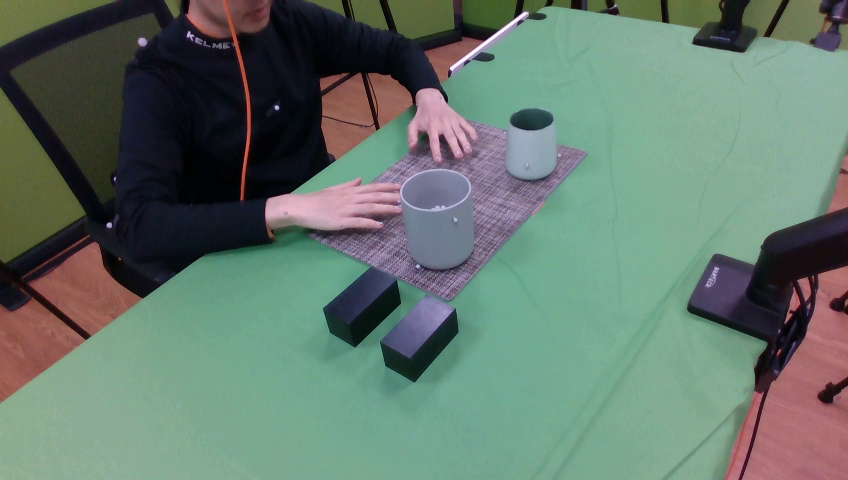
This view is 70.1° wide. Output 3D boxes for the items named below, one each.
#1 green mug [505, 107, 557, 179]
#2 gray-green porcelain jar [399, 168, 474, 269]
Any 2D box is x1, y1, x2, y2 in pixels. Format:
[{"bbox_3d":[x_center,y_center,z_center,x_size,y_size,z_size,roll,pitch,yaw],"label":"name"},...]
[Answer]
[{"bbox_3d":[0.189,-0.180,1.082,0.092,0.105,0.124,-6,41,2],"label":"green mug"},{"bbox_3d":[0.022,-0.027,0.911,0.106,0.127,0.105,-4,41,4],"label":"gray-green porcelain jar"}]
